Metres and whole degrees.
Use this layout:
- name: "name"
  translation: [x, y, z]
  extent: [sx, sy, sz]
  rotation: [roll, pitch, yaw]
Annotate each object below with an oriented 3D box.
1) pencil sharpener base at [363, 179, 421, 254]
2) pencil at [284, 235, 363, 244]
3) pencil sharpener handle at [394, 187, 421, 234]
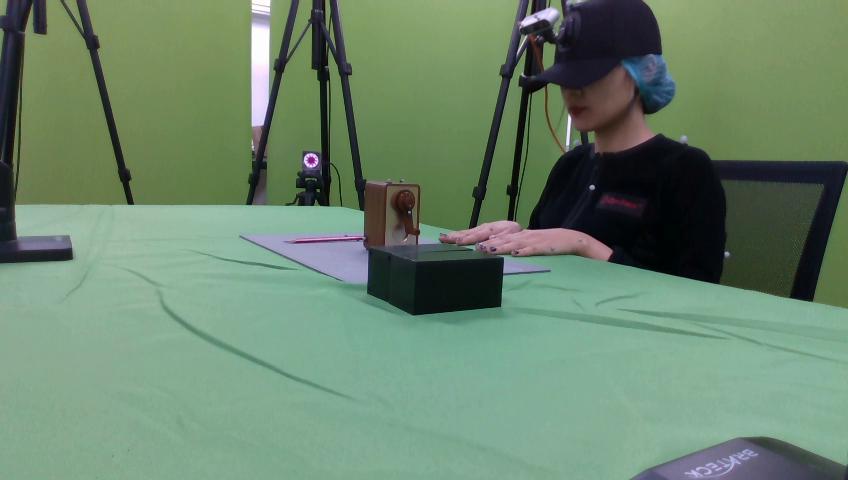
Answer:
- name: "pencil sharpener base"
  translation: [-0.048, -0.036, 0.906]
  extent: [0.062, 0.107, 0.076]
  rotation: [-1, 8, -31]
- name: "pencil"
  translation: [-0.138, -0.002, 1.003]
  extent: [0.195, 0.012, 0.012]
  rotation: [-4, 9, -33]
- name: "pencil sharpener handle"
  translation: [-0.019, -0.042, 0.862]
  extent: [0.036, 0.068, 0.030]
  rotation: [-13, 14, -29]
